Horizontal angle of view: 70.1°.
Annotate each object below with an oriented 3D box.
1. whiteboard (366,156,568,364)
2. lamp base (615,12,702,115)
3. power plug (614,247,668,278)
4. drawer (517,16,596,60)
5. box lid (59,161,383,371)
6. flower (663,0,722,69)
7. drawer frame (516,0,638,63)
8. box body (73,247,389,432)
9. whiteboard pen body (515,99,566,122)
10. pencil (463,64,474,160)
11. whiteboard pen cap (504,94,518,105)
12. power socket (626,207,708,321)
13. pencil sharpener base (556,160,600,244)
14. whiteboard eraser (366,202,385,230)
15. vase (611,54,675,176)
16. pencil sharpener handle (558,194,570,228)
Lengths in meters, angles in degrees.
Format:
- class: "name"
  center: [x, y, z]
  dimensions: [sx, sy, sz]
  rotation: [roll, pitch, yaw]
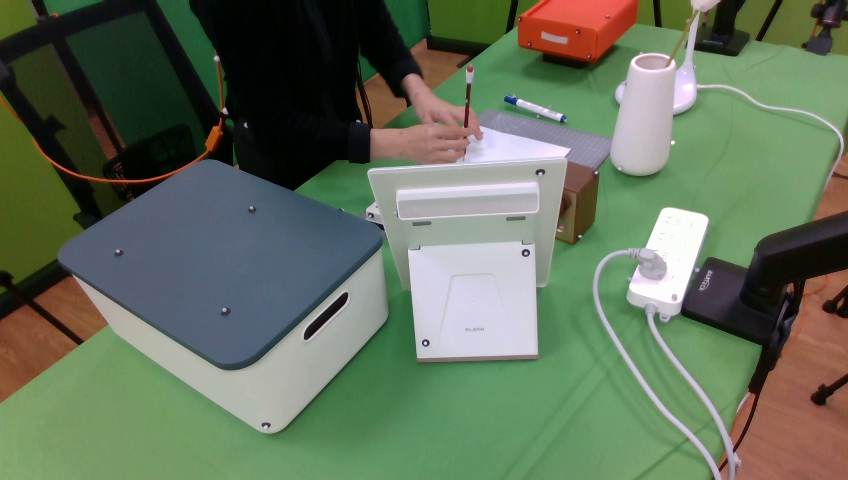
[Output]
- class: "whiteboard"
  center: [0.059, 0.050, 0.738]
  dimensions: [0.217, 0.307, 0.143]
  rotation: [-2, 60, 6]
- class: "lamp base"
  center: [0.484, -0.363, 1.211]
  dimensions: [0.180, 0.181, 0.159]
  rotation: [-15, 41, -14]
- class: "power plug"
  center: [0.306, 0.031, 0.851]
  dimensions: [0.072, 0.053, 0.035]
  rotation: [24, 49, 33]
- class: "drawer"
  center: [0.353, -0.506, 1.405]
  dimensions: [0.193, 0.073, 0.212]
  rotation: [23, 49, 32]
- class: "box lid"
  center: [-0.262, 0.010, 0.777]
  dimensions: [0.369, 0.015, 0.264]
  rotation: [21, 48, 29]
- class: "flower"
  center: [0.379, -0.261, 0.965]
  dimensions: [0.044, 0.362, 0.038]
  rotation: [20, 53, 5]
- class: "drawer frame"
  center: [0.355, -0.508, 1.411]
  dimensions: [0.200, 0.083, 0.214]
  rotation: [23, 51, 32]
- class: "box body"
  center: [-0.255, 0.065, 0.827]
  dimensions: [0.361, 0.161, 0.255]
  rotation: [21, 48, 29]
- class: "whiteboard pen body"
  center: [0.234, -0.274, 1.262]
  dimensions: [0.139, 0.017, 0.017]
  rotation: [28, 51, 29]
- class: "pencil"
  center: [0.072, -0.207, 1.010]
  dimensions: [0.012, 0.195, 0.012]
  rotation: [0, 48, 0]
- class: "whiteboard pen cap"
  center: [0.189, -0.299, 1.292]
  dimensions: [0.033, 0.018, 0.018]
  rotation: [31, 53, 28]
- class: "power socket"
  center: [0.359, 0.025, 0.886]
  dimensions: [0.072, 0.033, 0.227]
  rotation: [16, 46, 26]
- class: "pencil sharpener base"
  center: [0.228, -0.057, 0.945]
  dimensions: [0.061, 0.107, 0.077]
  rotation: [24, 50, 31]
- class: "whiteboard eraser"
  center: [-0.037, -0.038, 1.006]
  dimensions: [0.112, 0.042, 0.055]
  rotation: [16, 47, 26]
- class: "vase"
  center: [0.377, -0.209, 1.031]
  dimensions: [0.098, 0.201, 0.097]
  rotation: [-3, 40, 3]
- class: "pencil sharpener handle"
  center: [0.195, -0.038, 0.908]
  dimensions: [0.035, 0.068, 0.031]
  rotation: [24, 50, 30]
